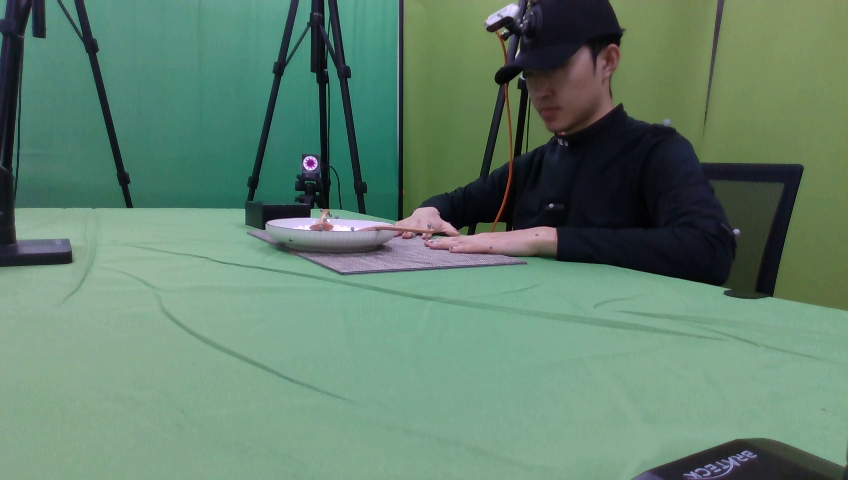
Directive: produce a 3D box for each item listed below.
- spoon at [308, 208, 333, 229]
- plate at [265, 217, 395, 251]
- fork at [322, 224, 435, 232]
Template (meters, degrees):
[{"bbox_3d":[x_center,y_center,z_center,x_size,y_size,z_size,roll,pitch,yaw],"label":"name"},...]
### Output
[{"bbox_3d":[-0.177,-0.041,1.072,0.042,0.021,0.193,-3,15,-5],"label":"spoon"},{"bbox_3d":[-0.150,-0.011,0.978,0.209,0.038,0.209,2,7,0],"label":"plate"},{"bbox_3d":[-0.076,-0.015,0.915,0.206,0.018,0.028,-3,4,27],"label":"fork"}]
